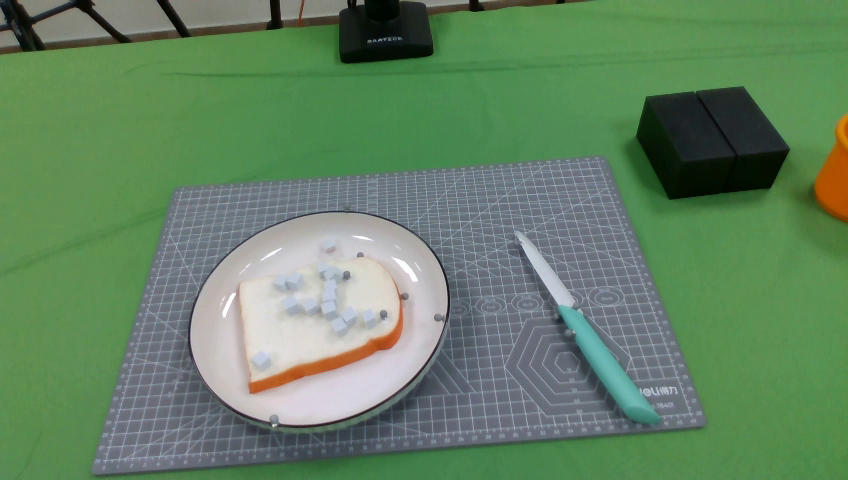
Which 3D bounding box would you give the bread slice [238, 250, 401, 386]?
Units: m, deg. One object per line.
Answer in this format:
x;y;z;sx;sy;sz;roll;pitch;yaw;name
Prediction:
-0.086;0.054;0.501;0.132;0.019;0.103;-16;51;-10;bread slice

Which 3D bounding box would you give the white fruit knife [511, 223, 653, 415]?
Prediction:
0.120;0.055;0.502;0.027;0.016;0.205;5;40;-33;white fruit knife

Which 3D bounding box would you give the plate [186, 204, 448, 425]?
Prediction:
-0.084;0.057;0.496;0.209;0.038;0.207;-1;50;2;plate
